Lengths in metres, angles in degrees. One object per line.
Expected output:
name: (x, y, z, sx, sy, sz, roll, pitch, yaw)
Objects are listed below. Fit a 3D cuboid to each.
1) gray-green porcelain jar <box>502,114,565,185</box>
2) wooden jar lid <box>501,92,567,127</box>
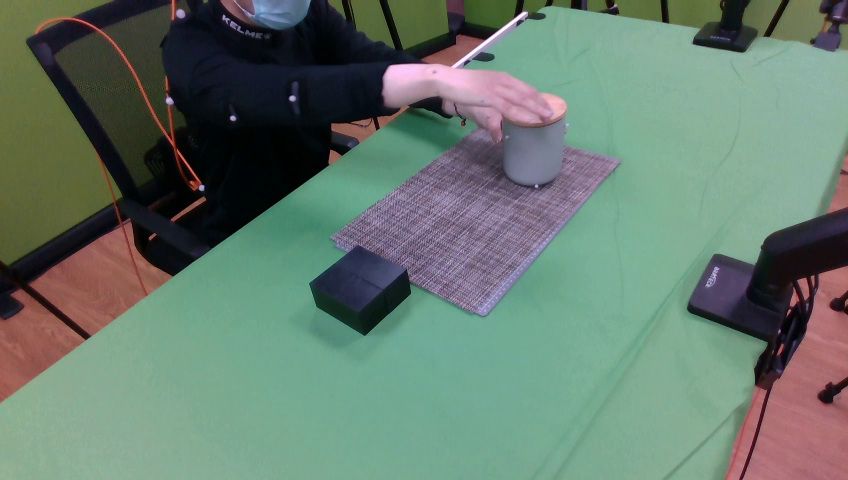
gray-green porcelain jar: (0.189, -0.168, 1.051, 0.106, 0.127, 0.105, -4, 41, 4)
wooden jar lid: (0.183, -0.214, 1.010, 0.108, 0.021, 0.108, -5, 40, 5)
